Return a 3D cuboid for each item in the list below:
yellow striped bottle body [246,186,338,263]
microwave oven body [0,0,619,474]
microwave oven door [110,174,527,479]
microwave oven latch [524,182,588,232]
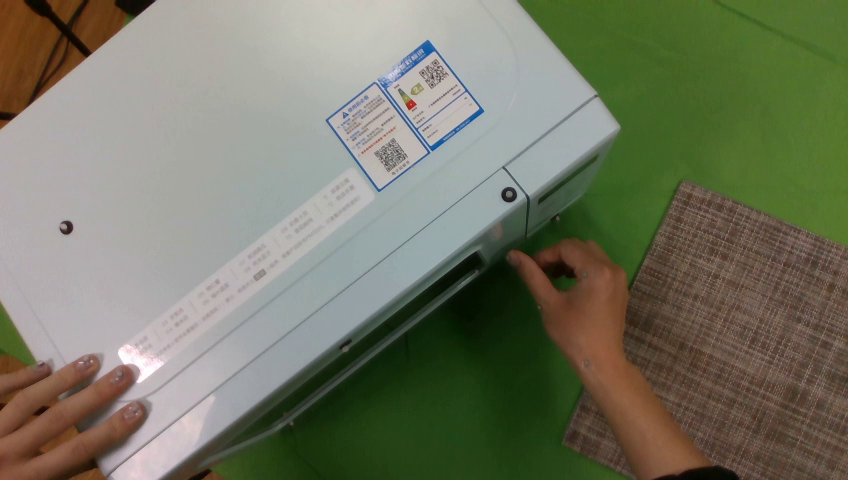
[{"bbox_3d":[-0.122,-0.013,0.561,0.063,0.120,0.062,0,84,4],"label":"yellow striped bottle body"},{"bbox_3d":[-0.114,-0.060,0.558,0.442,0.261,0.324,-38,81,4],"label":"microwave oven body"},{"bbox_3d":[-0.061,0.080,0.531,0.356,0.245,0.039,-38,79,3],"label":"microwave oven door"},{"bbox_3d":[0.129,-0.043,0.619,0.079,0.029,0.030,-37,81,4],"label":"microwave oven latch"}]
